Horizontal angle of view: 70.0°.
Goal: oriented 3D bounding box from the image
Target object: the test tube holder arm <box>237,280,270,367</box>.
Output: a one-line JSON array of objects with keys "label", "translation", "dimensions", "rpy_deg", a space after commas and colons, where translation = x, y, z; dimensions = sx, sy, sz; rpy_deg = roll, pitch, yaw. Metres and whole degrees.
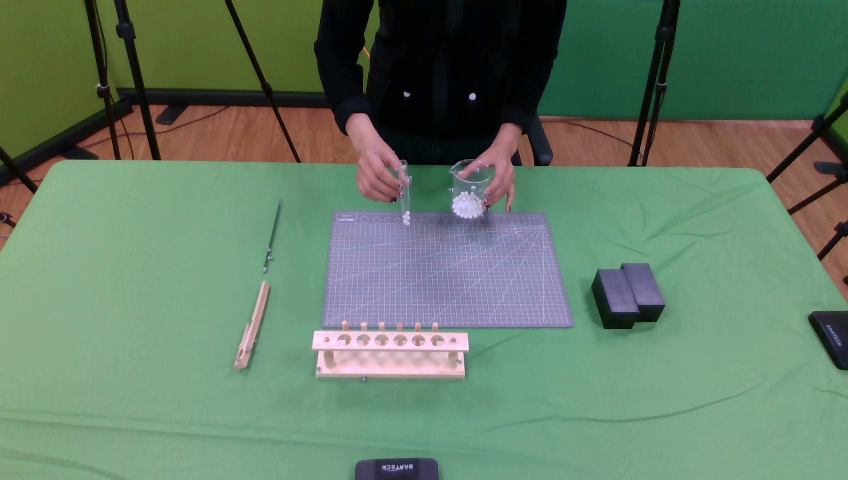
[{"label": "test tube holder arm", "translation": [-0.291, 0.140, 1.042], "dimensions": [0.013, 0.015, 0.177], "rpy_deg": [-17, 42, 21]}]

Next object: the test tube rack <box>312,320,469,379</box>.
[{"label": "test tube rack", "translation": [-0.054, 0.173, 0.984], "dimensions": [0.242, 0.085, 0.066], "rpy_deg": [1, 46, -3]}]

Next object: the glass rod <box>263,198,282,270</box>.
[{"label": "glass rod", "translation": [-0.299, -0.017, 1.202], "dimensions": [0.008, 0.008, 0.198], "rpy_deg": [1, 46, -2]}]

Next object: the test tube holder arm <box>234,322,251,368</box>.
[{"label": "test tube holder arm", "translation": [-0.299, 0.173, 1.013], "dimensions": [0.010, 0.015, 0.087], "rpy_deg": [-16, 42, 22]}]

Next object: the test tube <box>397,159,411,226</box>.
[{"label": "test tube", "translation": [-0.033, -0.079, 1.047], "dimensions": [0.017, 0.151, 0.017], "rpy_deg": [-1, 48, 1]}]

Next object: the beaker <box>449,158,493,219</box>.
[{"label": "beaker", "translation": [0.087, -0.098, 1.181], "dimensions": [0.084, 0.101, 0.073], "rpy_deg": [6, 44, 2]}]
